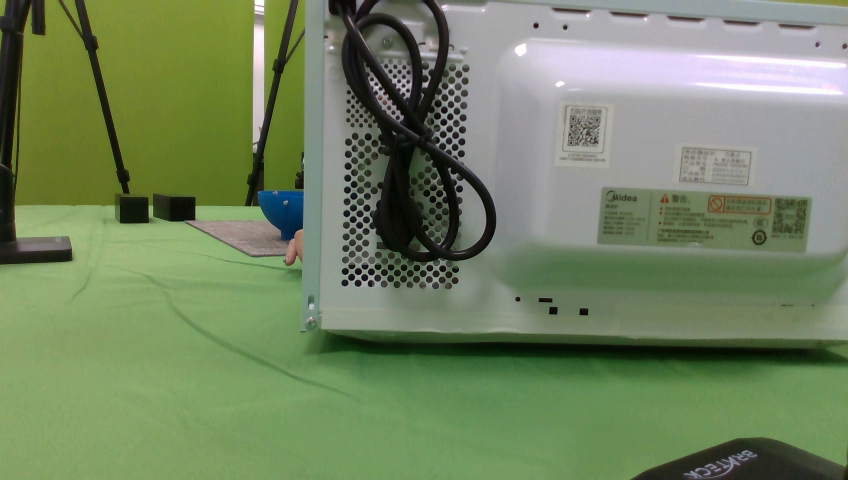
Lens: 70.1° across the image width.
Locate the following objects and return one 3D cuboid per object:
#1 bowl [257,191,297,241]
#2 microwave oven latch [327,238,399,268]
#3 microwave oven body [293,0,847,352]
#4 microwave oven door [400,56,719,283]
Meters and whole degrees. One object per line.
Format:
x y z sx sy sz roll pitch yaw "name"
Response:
-0.206 -0.041 1.027 0.151 0.077 0.151 3 8 0 "bowl"
-0.069 0.015 0.694 0.079 0.029 0.030 3 7 -3 "microwave oven latch"
0.122 -0.055 0.550 0.442 0.260 0.325 3 7 -5 "microwave oven body"
0.155 -0.077 0.698 0.356 0.243 0.039 2 8 -5 "microwave oven door"
